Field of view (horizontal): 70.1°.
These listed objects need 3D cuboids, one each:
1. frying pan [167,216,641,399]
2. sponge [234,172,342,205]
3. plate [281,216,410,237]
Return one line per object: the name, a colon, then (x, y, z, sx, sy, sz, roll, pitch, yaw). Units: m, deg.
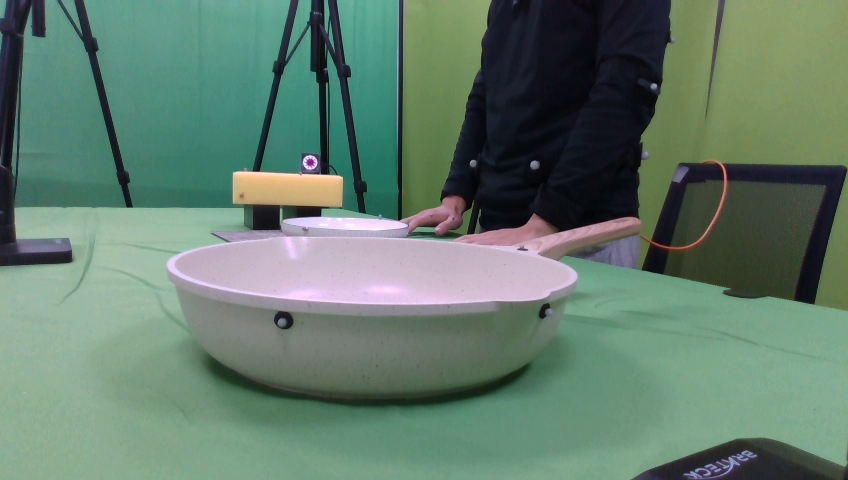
frying pan: (0.046, 0.024, 0.519, 0.490, 0.102, 0.305, -14, 16, -37)
sponge: (-0.273, -0.105, 1.223, 0.207, 0.061, 0.118, 0, 7, -14)
plate: (-0.126, -0.012, 0.986, 0.208, 0.039, 0.207, 2, 7, 0)
